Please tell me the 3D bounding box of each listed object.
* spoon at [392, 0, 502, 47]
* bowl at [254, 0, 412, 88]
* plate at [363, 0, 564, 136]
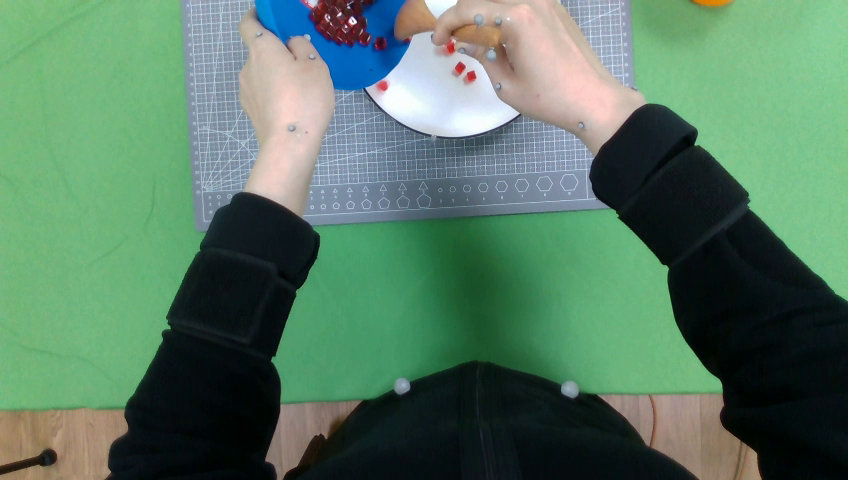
[{"bbox_3d":[0.013,-0.160,0.446,0.022,0.191,0.041,22,103,-32],"label":"spoon"},{"bbox_3d":[-0.084,-0.207,0.499,0.076,0.153,0.151,24,93,41],"label":"bowl"},{"bbox_3d":[0.030,-0.204,0.590,0.209,0.038,0.209,0,91,3],"label":"plate"}]
